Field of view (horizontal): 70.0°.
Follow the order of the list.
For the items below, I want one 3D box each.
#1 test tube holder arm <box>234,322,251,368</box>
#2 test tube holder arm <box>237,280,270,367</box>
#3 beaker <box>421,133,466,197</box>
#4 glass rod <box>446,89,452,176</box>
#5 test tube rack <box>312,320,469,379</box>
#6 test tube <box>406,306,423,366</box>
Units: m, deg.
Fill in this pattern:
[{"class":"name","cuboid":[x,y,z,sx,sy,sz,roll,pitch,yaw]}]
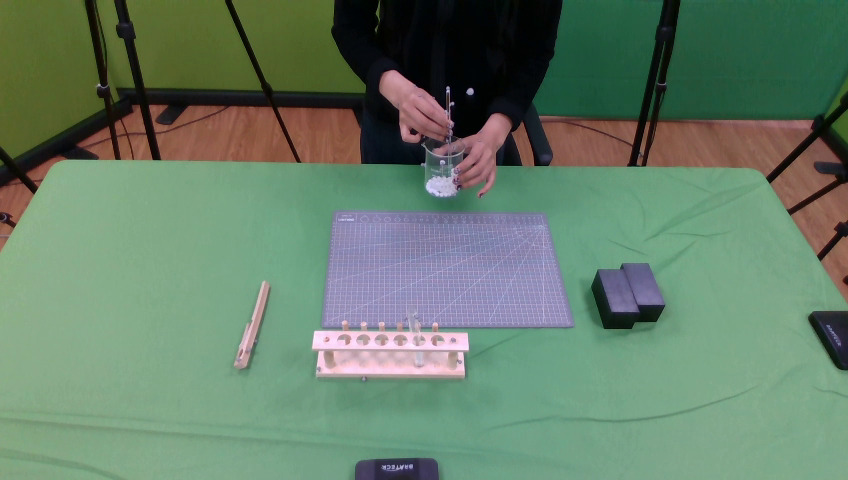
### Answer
[{"class":"test tube holder arm","cuboid":[-0.299,0.173,1.013,0.010,0.015,0.087,-17,42,22]},{"class":"test tube holder arm","cuboid":[-0.291,0.140,1.042,0.013,0.015,0.177,-17,41,22]},{"class":"beaker","cuboid":[0.034,-0.138,1.136,0.084,0.101,0.073,12,42,10]},{"class":"glass rod","cuboid":[0.046,-0.192,1.108,0.008,0.201,0.008,-2,49,2]},{"class":"test tube rack","cuboid":[-0.054,0.173,0.984,0.242,0.085,0.066,1,46,-3]},{"class":"test tube","cuboid":[-0.013,0.152,0.939,0.017,0.151,0.017,-3,48,3]}]
